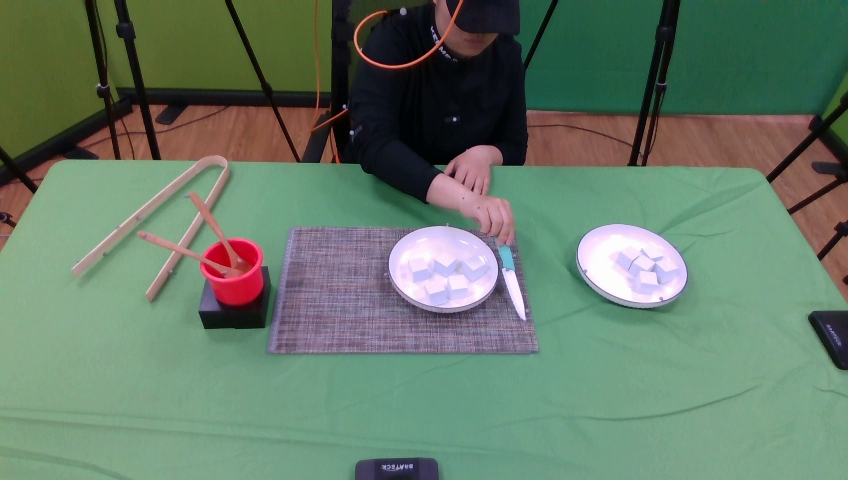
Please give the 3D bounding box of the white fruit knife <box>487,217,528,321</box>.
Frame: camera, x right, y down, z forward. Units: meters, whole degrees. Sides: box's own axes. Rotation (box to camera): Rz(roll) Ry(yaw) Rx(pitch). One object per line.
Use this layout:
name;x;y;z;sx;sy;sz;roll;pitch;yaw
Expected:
white fruit knife;0.156;0.050;1.112;0.027;0.016;0.206;-14;73;-3

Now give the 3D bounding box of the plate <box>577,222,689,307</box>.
plate;0.396;0.050;1.165;0.209;0.038;0.208;2;47;-2

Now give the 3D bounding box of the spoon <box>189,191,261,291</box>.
spoon;-0.333;0.001;1.012;0.041;0.194;0.021;-35;15;-25

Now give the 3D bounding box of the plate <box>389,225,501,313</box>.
plate;0.038;0.057;1.128;0.208;0.039;0.206;2;46;-2

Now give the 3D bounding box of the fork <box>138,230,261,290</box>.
fork;-0.359;0.032;0.981;0.208;0.018;0.028;31;59;-30

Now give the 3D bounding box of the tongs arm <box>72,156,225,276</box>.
tongs arm;-0.531;-0.057;1.205;0.050;0.026;0.383;19;47;12

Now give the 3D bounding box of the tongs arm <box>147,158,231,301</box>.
tongs arm;-0.454;-0.034;1.194;0.028;0.028;0.385;7;46;6
